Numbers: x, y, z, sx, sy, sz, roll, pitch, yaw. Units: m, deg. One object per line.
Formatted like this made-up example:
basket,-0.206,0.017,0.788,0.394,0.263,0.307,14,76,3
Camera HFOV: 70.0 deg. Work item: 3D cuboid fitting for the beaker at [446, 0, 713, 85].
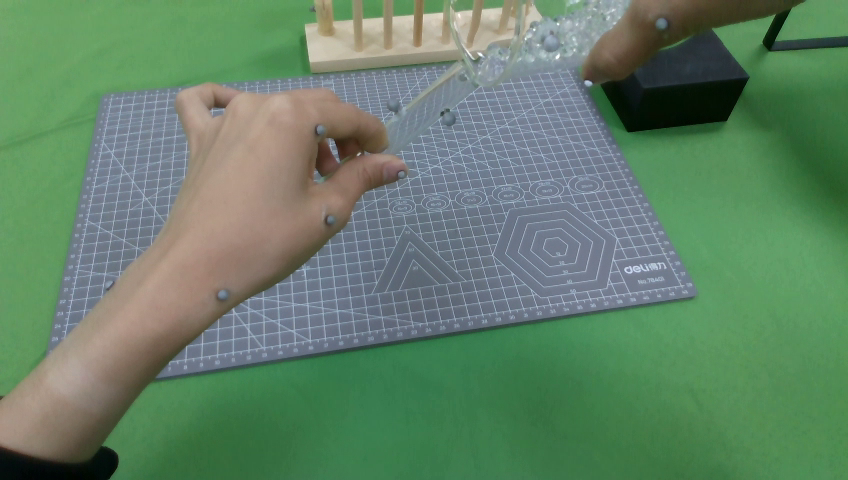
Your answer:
beaker,0.067,-0.111,0.265,0.100,0.084,0.073,-14,59,-15

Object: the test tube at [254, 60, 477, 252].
test tube,-0.035,-0.038,0.310,0.150,0.017,0.017,-36,51,20

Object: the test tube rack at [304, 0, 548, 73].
test tube rack,0.002,-0.230,0.593,0.243,0.086,0.066,-8,53,-8
